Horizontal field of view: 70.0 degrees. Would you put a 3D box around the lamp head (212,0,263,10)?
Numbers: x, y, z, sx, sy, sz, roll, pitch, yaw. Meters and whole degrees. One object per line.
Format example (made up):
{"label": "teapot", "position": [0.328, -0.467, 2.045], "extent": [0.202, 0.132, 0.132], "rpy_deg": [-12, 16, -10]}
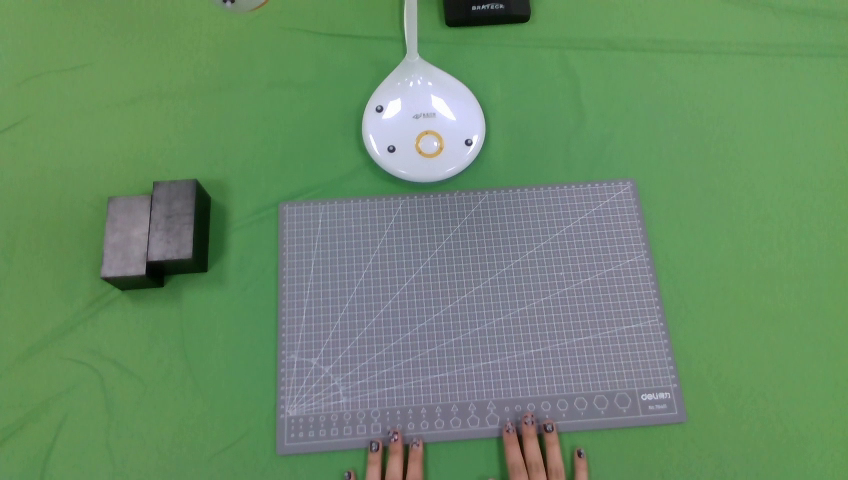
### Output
{"label": "lamp head", "position": [-0.168, -0.257, 0.505], "extent": [0.112, 0.124, 0.111], "rpy_deg": [-5, 72, 14]}

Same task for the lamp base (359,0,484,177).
{"label": "lamp base", "position": [-0.008, -0.191, 0.714], "extent": [0.161, 0.181, 0.177], "rpy_deg": [-17, 68, -7]}
